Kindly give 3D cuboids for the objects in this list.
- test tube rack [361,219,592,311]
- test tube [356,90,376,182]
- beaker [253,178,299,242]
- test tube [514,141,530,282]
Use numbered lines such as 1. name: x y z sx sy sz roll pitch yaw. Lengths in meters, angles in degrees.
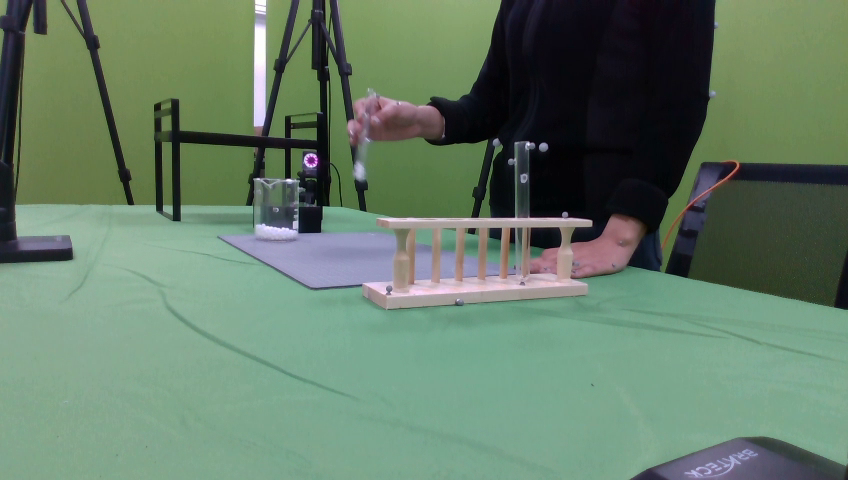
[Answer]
1. test tube rack: 0.060 0.019 0.640 0.243 0.085 0.066 -1 8 -27
2. test tube: -0.093 -0.165 0.958 0.017 0.150 0.017 6 -8 1
3. beaker: -0.243 -0.050 0.990 0.074 0.100 0.084 2 9 1
4. test tube: 0.103 -0.028 0.636 0.017 0.150 0.017 -2 12 1
